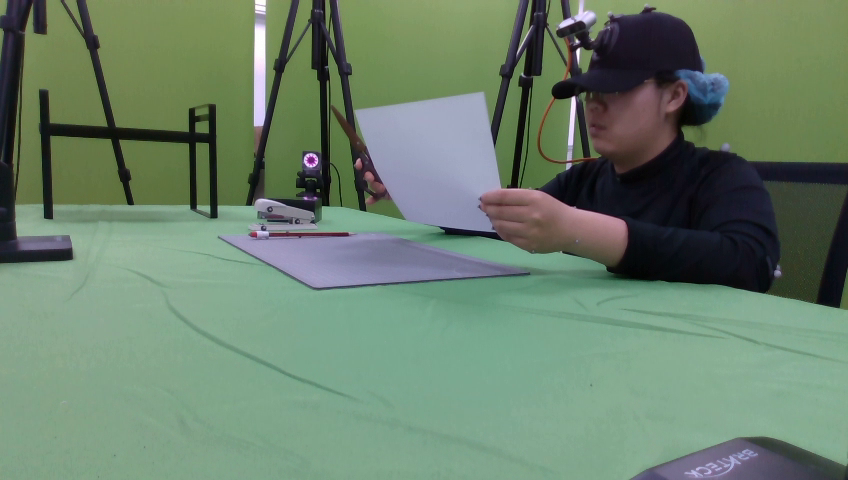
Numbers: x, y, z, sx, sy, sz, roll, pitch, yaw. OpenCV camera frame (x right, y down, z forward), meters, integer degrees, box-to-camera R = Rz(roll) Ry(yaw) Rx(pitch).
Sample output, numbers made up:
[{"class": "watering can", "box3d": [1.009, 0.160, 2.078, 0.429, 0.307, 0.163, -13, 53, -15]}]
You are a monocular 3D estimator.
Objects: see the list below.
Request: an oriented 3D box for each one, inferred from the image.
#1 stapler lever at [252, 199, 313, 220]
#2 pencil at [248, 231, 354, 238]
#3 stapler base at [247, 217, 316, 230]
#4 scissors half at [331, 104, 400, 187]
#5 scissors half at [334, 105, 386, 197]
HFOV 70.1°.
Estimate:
[{"class": "stapler lever", "box3d": [-0.273, -0.058, 1.170, 0.119, 0.040, 0.026, 0, 10, -37]}, {"class": "pencil", "box3d": [-0.206, -0.008, 1.039, 0.195, 0.012, 0.012, 0, 7, -36]}, {"class": "stapler base", "box3d": [-0.276, -0.033, 1.172, 0.131, 0.024, 0.041, -1, 11, -37]}, {"class": "scissors half", "box3d": [-0.098, -0.160, 1.024, 0.176, 0.040, 0.012, 47, -5, -21]}, {"class": "scissors half", "box3d": [-0.114, -0.148, 1.021, 0.040, 0.175, 0.013, -30, 18, -15]}]
